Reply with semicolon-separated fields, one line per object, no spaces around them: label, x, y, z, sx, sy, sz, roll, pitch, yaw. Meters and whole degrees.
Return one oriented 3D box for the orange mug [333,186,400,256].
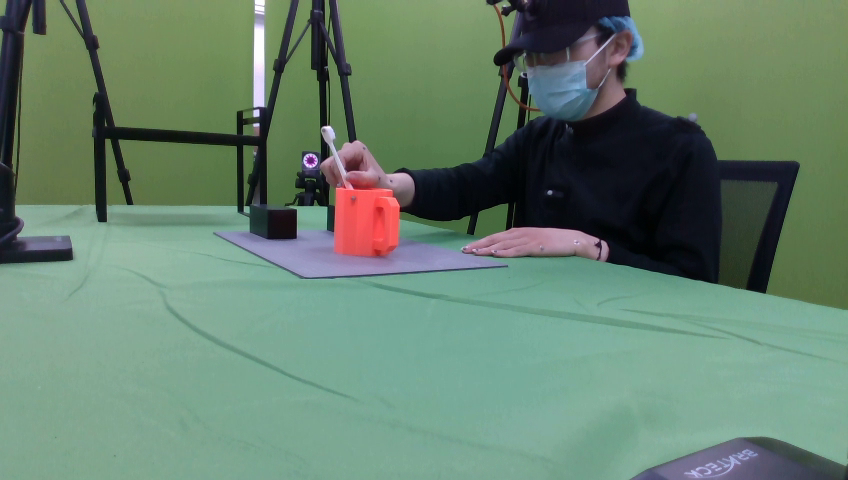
orange mug;-0.080;-0.029;0.888;0.084;0.100;0.125;-3;5;-40

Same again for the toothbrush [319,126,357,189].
toothbrush;-0.111;-0.088;0.911;0.014;0.182;0.016;-23;15;9
